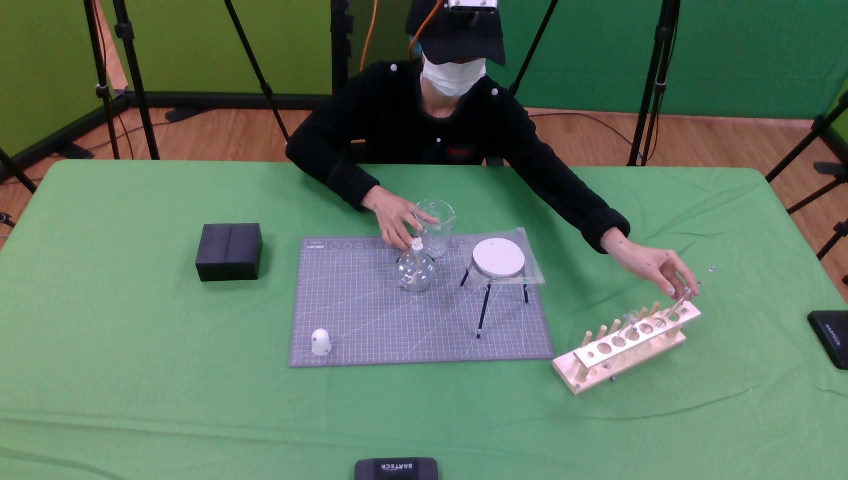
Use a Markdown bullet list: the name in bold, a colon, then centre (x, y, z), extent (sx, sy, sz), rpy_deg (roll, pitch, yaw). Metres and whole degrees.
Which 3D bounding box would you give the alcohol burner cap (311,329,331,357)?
- **alcohol burner cap**: centre (-0.173, 0.168, 1.004), extent (0.034, 0.048, 0.033), rpy_deg (2, 46, -2)

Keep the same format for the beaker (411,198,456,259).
- **beaker**: centre (0.016, -0.019, 1.161), extent (0.084, 0.101, 0.073), rpy_deg (7, 46, 1)

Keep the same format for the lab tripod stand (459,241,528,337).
- **lab tripod stand**: centre (0.122, 0.075, 1.054), extent (0.148, 0.132, 0.147), rpy_deg (3, 44, -3)

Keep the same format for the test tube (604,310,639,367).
- **test tube**: centre (0.310, 0.158, 0.957), extent (0.017, 0.151, 0.017), rpy_deg (1, 49, -1)

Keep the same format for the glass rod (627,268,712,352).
- **glass rod**: centre (0.399, 0.118, 0.995), extent (0.008, 0.200, 0.008), rpy_deg (26, 29, -15)

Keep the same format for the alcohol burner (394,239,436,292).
- **alcohol burner**: centre (-0.016, 0.038, 1.093), extent (0.078, 0.119, 0.077), rpy_deg (2, 48, -2)

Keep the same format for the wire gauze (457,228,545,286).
- **wire gauze**: centre (0.126, 0.029, 1.006), extent (0.125, 0.011, 0.120), rpy_deg (-4, 46, -10)

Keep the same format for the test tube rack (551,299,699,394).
- **test tube rack**: centre (0.339, 0.166, 1.021), extent (0.242, 0.085, 0.066), rpy_deg (-19, 50, -21)
